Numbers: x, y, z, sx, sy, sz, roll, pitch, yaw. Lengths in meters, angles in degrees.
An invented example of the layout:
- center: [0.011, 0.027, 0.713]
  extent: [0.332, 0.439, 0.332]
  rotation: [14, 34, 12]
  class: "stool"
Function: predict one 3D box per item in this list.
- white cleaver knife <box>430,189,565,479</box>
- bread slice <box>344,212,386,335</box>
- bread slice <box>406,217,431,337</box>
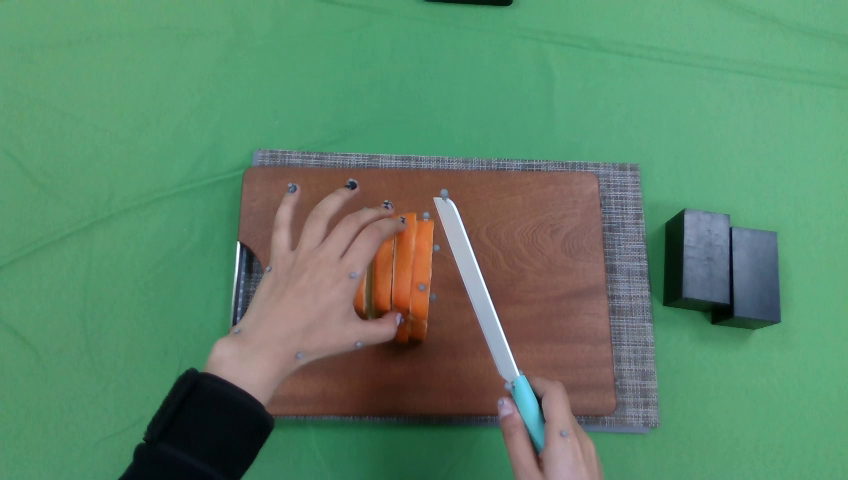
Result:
- center: [0.063, 0.091, 0.489]
  extent: [0.021, 0.065, 0.287]
  rotation: [-21, 97, -8]
  class: "white cleaver knife"
- center: [-0.056, 0.029, 0.584]
  extent: [0.019, 0.132, 0.104]
  rotation: [2, 73, 4]
  class: "bread slice"
- center: [-0.006, 0.036, 0.582]
  extent: [0.018, 0.135, 0.106]
  rotation: [3, 78, -1]
  class: "bread slice"
